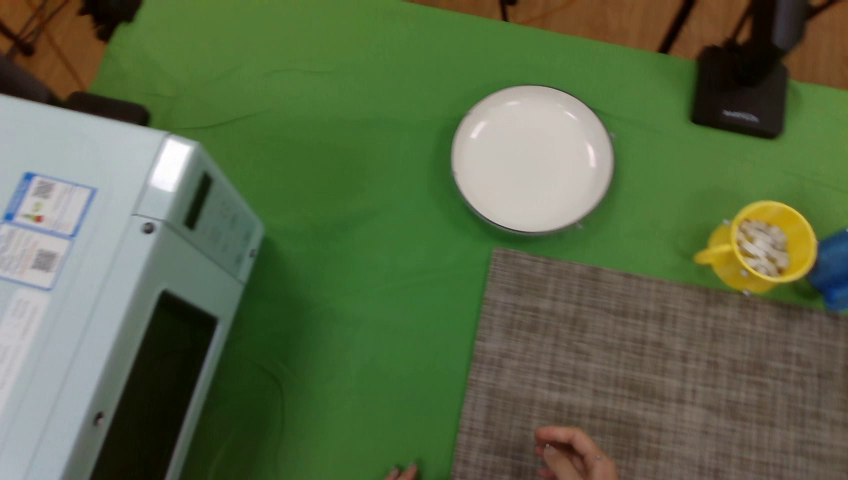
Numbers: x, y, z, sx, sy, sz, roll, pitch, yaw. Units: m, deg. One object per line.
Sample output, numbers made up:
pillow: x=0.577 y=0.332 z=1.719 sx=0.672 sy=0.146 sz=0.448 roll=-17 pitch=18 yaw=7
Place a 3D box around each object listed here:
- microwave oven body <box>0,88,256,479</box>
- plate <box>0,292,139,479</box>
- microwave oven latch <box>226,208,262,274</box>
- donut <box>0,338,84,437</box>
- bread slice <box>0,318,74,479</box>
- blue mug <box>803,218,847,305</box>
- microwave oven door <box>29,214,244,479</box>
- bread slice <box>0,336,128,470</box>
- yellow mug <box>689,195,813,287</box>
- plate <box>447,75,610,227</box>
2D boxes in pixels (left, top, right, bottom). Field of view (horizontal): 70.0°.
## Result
microwave oven body: x=-0.407 y=0.104 z=0.601 sx=0.326 sy=0.261 sz=0.439 roll=13 pitch=75 yaw=3
plate: x=-0.403 y=0.159 z=0.635 sx=0.209 sy=0.038 sz=0.208 roll=1 pitch=75 yaw=-4
microwave oven latch: x=-0.221 y=-0.001 z=0.731 sx=0.030 sy=0.029 sz=0.079 roll=17 pitch=75 yaw=4
donut: x=-0.397 y=0.148 z=0.609 sx=0.099 sy=0.048 sz=0.098 roll=4 pitch=68 yaw=-10
bread slice: x=-0.410 y=0.144 z=0.583 sx=0.107 sy=0.018 sz=0.133 roll=24 pitch=67 yaw=-4
blue mug: x=0.507 y=0.026 z=0.710 sx=0.082 sy=0.106 sz=0.116 roll=32 pitch=77 yaw=9
microwave oven door: x=-0.276 y=0.175 z=0.576 sx=0.039 sy=0.245 sz=0.354 roll=13 pitch=74 yaw=4
bread slice: x=-0.406 y=0.177 z=0.650 sx=0.104 sy=0.019 sz=0.131 roll=30 pitch=54 yaw=6
yellow mug: x=0.389 y=0.005 z=0.736 sx=0.131 sy=0.064 sz=0.099 roll=-9 pitch=73 yaw=-1
plate: x=0.133 y=-0.112 z=0.783 sx=0.208 sy=0.039 sz=0.206 roll=0 pitch=74 yaw=0
